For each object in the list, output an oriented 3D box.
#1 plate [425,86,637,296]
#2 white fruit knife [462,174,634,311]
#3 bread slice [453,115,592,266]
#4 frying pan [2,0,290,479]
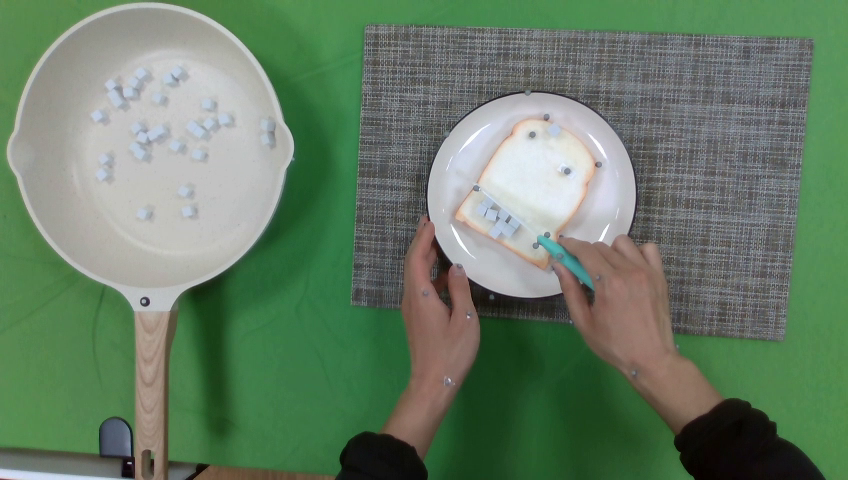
[{"bbox_3d":[0.106,-0.048,0.615,0.207,0.039,0.207,0,94,6],"label":"plate"},{"bbox_3d":[0.115,-0.001,0.585,0.206,0.027,0.016,39,104,14],"label":"white fruit knife"},{"bbox_3d":[0.104,-0.057,0.617,0.107,0.018,0.134,27,98,3],"label":"bread slice"},{"bbox_3d":[-0.281,0.009,0.630,0.306,0.103,0.486,0,85,7],"label":"frying pan"}]
